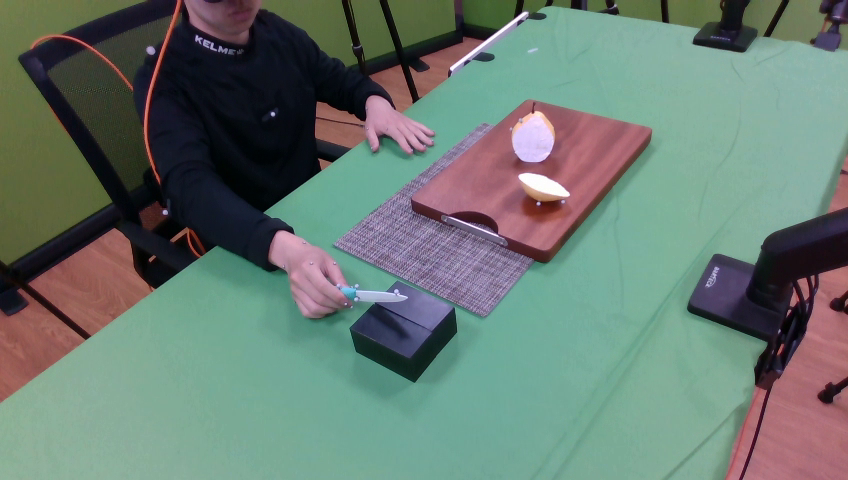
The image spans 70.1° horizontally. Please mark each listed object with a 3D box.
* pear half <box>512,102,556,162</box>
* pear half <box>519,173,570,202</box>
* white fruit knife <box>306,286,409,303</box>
[{"bbox_3d":[0.193,-0.197,1.060,0.076,0.110,0.056,3,41,6],"label":"pear half"},{"bbox_3d":[0.193,-0.080,0.981,0.087,0.031,0.071,35,38,22],"label":"pear half"},{"bbox_3d":[-0.096,0.076,0.831,0.206,0.027,0.016,-2,41,40],"label":"white fruit knife"}]
